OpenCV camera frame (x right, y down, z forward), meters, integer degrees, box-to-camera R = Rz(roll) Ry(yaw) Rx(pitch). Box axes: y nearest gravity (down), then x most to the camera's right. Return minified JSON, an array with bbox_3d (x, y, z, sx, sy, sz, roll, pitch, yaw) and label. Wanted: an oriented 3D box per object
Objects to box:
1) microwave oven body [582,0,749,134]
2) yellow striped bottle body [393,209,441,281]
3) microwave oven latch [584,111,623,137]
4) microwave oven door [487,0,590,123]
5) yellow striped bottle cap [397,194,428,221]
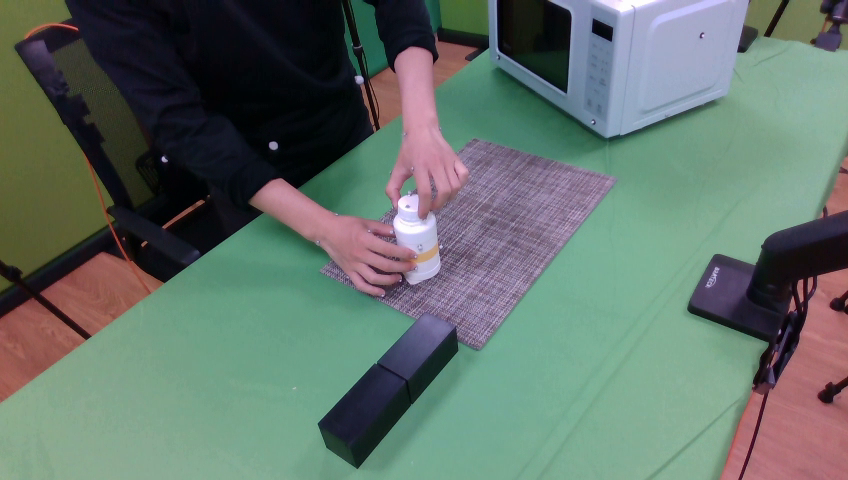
[{"bbox_3d":[0.382,-0.444,1.246,0.327,0.261,0.437,-22,42,-16],"label":"microwave oven body"},{"bbox_3d":[-0.010,-0.002,0.892,0.063,0.121,0.062,-4,41,4],"label":"yellow striped bottle body"},{"bbox_3d":[0.337,-0.222,1.142,0.030,0.029,0.078,-21,42,-14],"label":"microwave oven latch"},{"bbox_3d":[0.232,-0.420,1.230,0.039,0.245,0.352,-22,43,-16],"label":"microwave oven door"},{"bbox_3d":[-0.016,-0.046,0.855,0.044,0.019,0.044,3,37,-2],"label":"yellow striped bottle cap"}]
